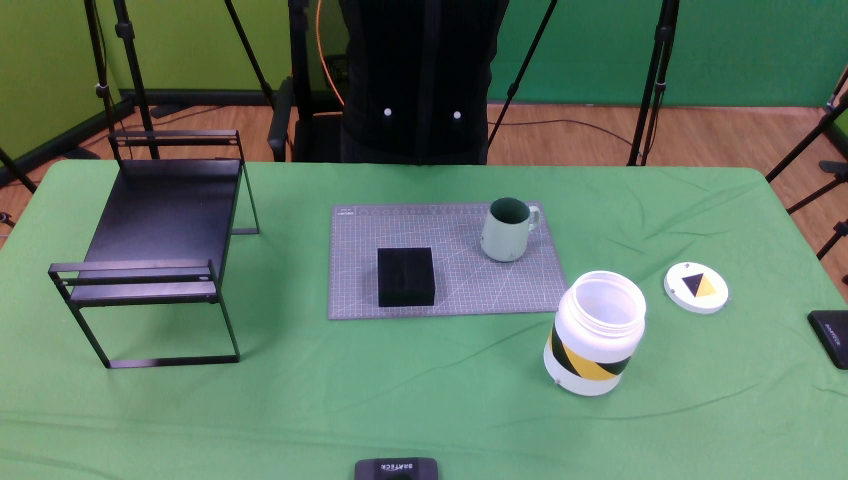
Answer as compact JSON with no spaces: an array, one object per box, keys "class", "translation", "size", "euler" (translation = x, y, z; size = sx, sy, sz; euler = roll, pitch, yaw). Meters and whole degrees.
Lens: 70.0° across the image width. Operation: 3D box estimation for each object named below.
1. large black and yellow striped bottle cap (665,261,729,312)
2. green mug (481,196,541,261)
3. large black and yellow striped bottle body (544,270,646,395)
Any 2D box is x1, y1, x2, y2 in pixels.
[{"class":"large black and yellow striped bottle cap","translation":[0.518,0.087,1.153],"size":[0.115,0.019,0.114],"euler":[2,47,-2]},{"class":"green mug","translation":[0.174,-0.027,1.173],"size":[0.125,0.105,0.092],"euler":[-22,51,-22]},{"class":"large black and yellow striped bottle body","translation":[0.271,0.147,0.962],"size":[0.131,0.185,0.130],"euler":[2,47,-2]}]
